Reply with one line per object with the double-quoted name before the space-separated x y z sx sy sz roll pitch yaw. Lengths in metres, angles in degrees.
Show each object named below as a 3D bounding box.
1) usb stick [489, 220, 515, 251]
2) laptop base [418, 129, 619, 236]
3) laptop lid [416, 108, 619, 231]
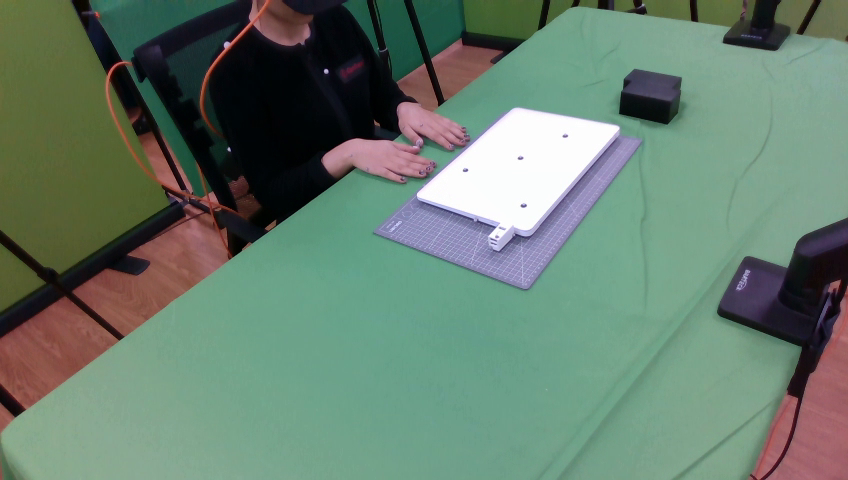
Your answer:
"usb stick" 0.127 -0.011 0.954 0.021 0.027 0.059 22 47 34
"laptop base" 0.180 -0.137 1.112 0.233 0.023 0.355 19 47 33
"laptop lid" 0.176 -0.147 1.106 0.239 0.013 0.357 21 48 34
